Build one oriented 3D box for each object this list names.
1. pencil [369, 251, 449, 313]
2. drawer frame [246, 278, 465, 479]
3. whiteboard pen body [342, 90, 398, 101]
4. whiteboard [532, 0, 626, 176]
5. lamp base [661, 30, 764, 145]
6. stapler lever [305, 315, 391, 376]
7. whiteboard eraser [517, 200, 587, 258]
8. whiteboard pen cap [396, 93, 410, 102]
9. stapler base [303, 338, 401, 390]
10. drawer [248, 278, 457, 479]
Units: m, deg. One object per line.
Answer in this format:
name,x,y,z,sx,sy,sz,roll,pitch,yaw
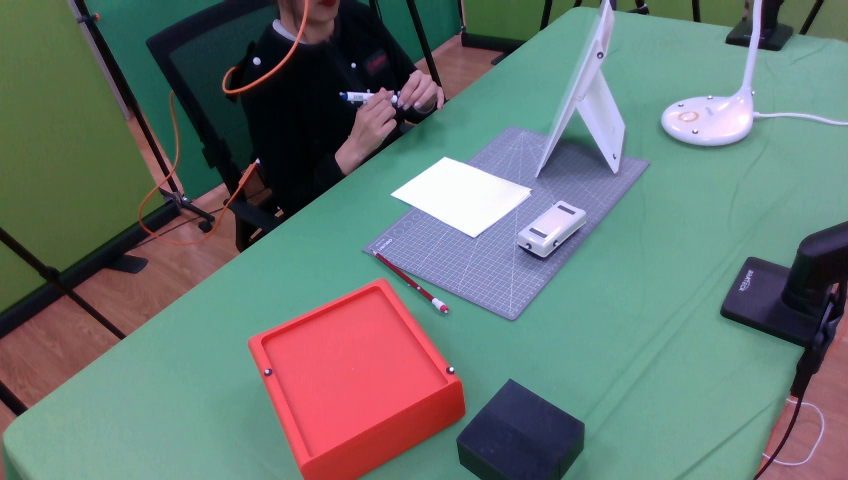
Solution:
pencil,-0.028,0.060,0.924,0.012,0.012,0.192,-33,46,-25
drawer frame,-0.088,0.168,0.752,0.202,0.083,0.211,-24,43,-18
whiteboard pen body,-0.096,-0.282,1.184,0.142,0.017,0.017,-5,34,-33
whiteboard,0.321,-0.258,1.049,0.144,0.306,0.217,22,45,5
lamp base,0.535,-0.287,1.096,0.179,0.181,0.159,-10,40,-4
stapler lever,-0.100,0.136,0.790,0.118,0.040,0.026,-23,44,-12
whiteboard eraser,0.201,-0.016,0.943,0.113,0.042,0.055,-37,46,-29
whiteboard pen cap,-0.046,-0.287,1.219,0.033,0.018,0.018,-5,34,-32
stapler base,-0.096,0.160,0.813,0.131,0.024,0.041,-17,42,-18
drawer,-0.092,0.168,0.756,0.195,0.073,0.210,-23,43,-18
